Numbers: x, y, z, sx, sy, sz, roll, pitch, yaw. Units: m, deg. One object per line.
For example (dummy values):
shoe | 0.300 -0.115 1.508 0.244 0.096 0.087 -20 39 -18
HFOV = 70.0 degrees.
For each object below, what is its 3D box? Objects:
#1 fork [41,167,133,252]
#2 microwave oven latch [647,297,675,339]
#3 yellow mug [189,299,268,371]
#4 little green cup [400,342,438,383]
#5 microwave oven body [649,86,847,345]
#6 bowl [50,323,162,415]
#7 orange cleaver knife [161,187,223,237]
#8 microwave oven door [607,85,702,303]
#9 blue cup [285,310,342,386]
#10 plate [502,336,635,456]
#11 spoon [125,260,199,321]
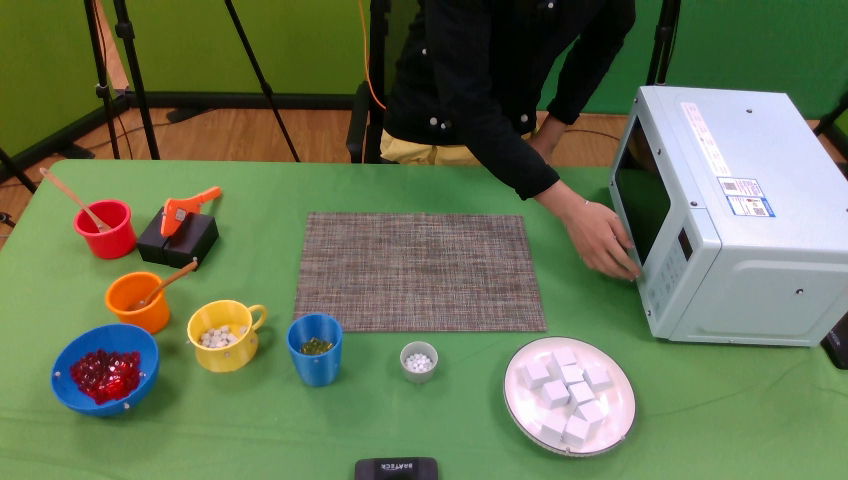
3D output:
fork | -0.624 -0.056 1.121 0.208 0.018 0.028 49 52 -15
microwave oven latch | 0.413 0.134 1.061 0.030 0.029 0.078 5 45 2
yellow mug | -0.316 0.148 1.002 0.131 0.064 0.099 -32 56 -31
little green cup | -0.009 0.202 0.991 0.061 0.039 0.061 2 47 -2
microwave oven body | 0.568 -0.053 1.118 0.326 0.261 0.439 2 45 -1
bowl | -0.472 0.209 0.924 0.151 0.077 0.150 2 45 -2
orange cleaver knife | -0.448 -0.058 1.181 0.012 0.077 0.211 13 17 6
microwave oven door | 0.423 -0.094 1.141 0.039 0.245 0.353 2 46 -1
blue cup | -0.169 0.179 0.958 0.093 0.101 0.092 1 44 -1
plate | 0.225 0.248 0.963 0.208 0.039 0.206 2 46 -2
spoon | -0.435 0.083 1.000 0.022 0.194 0.041 35 34 -34
